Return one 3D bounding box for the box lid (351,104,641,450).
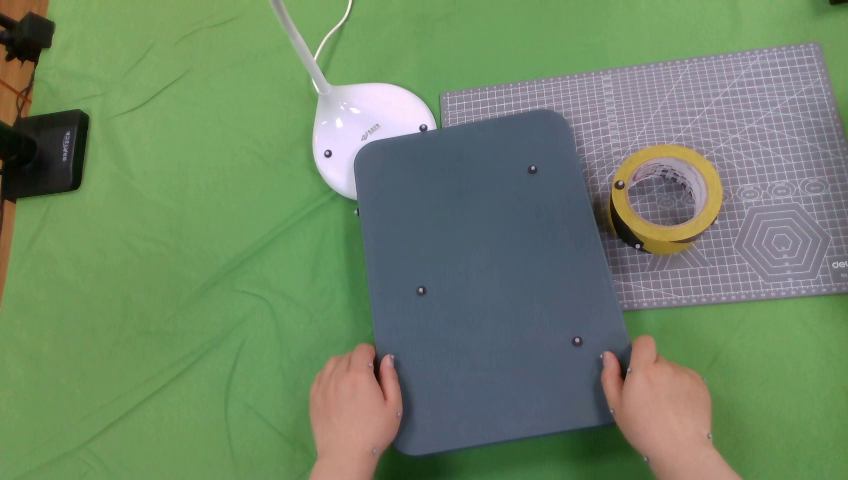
[{"bbox_3d":[0.064,0.022,0.666,0.263,0.015,0.368,-11,68,3],"label":"box lid"}]

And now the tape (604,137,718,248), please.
[{"bbox_3d":[0.256,-0.052,0.662,0.116,0.053,0.116,-3,73,9],"label":"tape"}]

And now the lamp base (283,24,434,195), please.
[{"bbox_3d":[-0.090,-0.159,0.691,0.178,0.181,0.160,34,82,20],"label":"lamp base"}]
